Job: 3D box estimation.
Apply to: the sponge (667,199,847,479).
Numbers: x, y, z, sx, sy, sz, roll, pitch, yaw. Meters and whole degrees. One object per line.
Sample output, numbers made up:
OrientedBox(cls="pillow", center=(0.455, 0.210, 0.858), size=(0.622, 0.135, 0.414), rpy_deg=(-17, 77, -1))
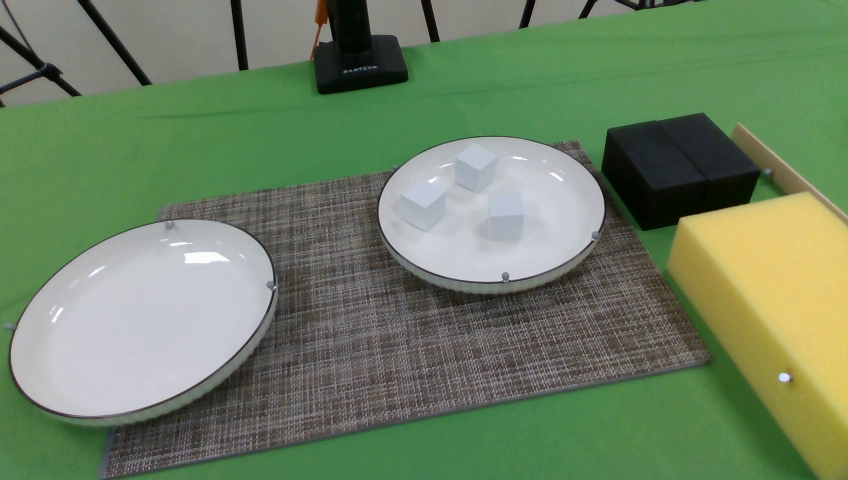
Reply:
OrientedBox(cls="sponge", center=(0.287, 0.064, 0.443), size=(0.118, 0.061, 0.204), rpy_deg=(-13, 44, -7))

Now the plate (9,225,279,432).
OrientedBox(cls="plate", center=(-0.221, 0.069, 0.501), size=(0.209, 0.038, 0.207), rpy_deg=(-3, 43, 3))

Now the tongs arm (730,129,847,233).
OrientedBox(cls="tongs arm", center=(0.385, 0.014, 0.510), size=(0.028, 0.028, 0.383), rpy_deg=(-13, 44, -11))

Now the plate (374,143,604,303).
OrientedBox(cls="plate", center=(0.059, -0.016, 0.563), size=(0.207, 0.039, 0.205), rpy_deg=(-3, 43, 3))
